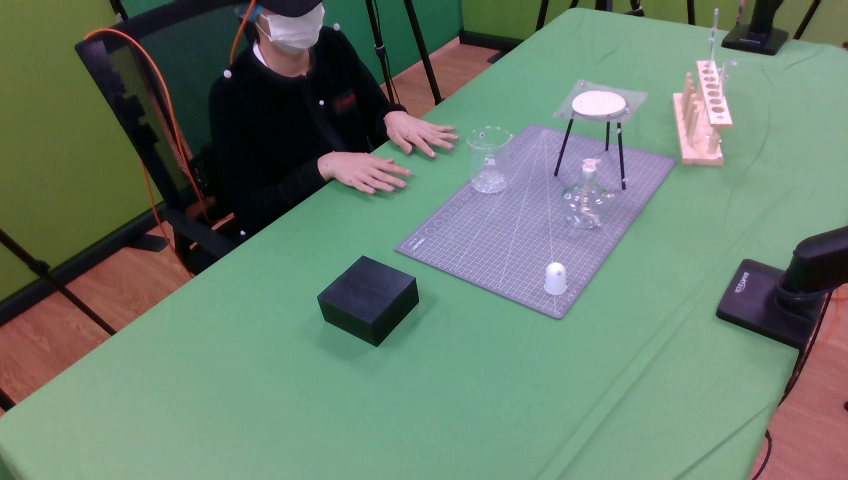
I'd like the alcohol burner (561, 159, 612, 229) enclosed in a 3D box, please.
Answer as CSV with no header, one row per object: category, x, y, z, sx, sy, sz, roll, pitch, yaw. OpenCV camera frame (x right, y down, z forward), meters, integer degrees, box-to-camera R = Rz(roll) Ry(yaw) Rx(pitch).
alcohol burner,0.257,-0.077,0.951,0.078,0.119,0.077,-3,40,3

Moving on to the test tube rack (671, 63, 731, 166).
test tube rack,0.513,-0.241,1.132,0.066,0.085,0.242,4,41,14

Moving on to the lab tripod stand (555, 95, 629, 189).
lab tripod stand,0.300,-0.174,1.045,0.148,0.132,0.147,-5,38,5

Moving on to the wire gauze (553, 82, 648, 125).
wire gauze,0.293,-0.226,1.002,0.120,0.011,0.125,17,45,27

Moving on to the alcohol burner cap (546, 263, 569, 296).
alcohol burner cap,0.191,0.053,0.862,0.034,0.048,0.033,-5,40,4

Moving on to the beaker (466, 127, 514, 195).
beaker,0.117,-0.136,1.056,0.084,0.101,0.073,-9,40,-2

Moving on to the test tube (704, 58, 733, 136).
test tube,0.516,-0.247,1.062,0.017,0.151,0.017,-3,43,4

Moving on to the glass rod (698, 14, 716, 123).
glass rod,0.531,-0.320,1.136,0.008,0.200,0.008,3,12,0
